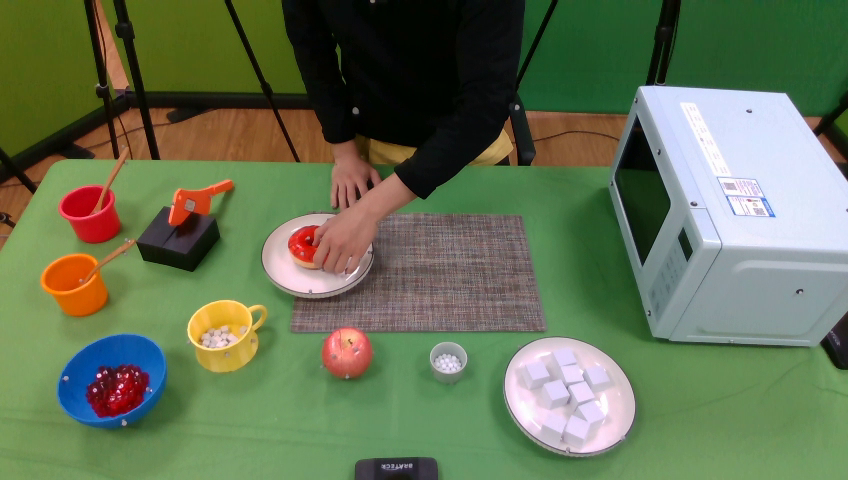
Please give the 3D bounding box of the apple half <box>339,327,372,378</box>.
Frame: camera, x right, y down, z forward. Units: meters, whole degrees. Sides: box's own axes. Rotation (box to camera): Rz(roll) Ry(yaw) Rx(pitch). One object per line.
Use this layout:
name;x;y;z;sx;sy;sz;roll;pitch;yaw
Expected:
apple half;-0.111;0.183;0.980;0.053;0.075;0.080;-2;42;-12

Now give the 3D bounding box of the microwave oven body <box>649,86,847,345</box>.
microwave oven body;0.568;-0.053;1.118;0.326;0.261;0.439;2;45;-1

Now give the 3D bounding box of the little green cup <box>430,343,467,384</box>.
little green cup;0.039;0.204;0.994;0.061;0.039;0.061;2;46;-2

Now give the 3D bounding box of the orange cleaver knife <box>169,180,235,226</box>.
orange cleaver knife;-0.435;-0.076;1.199;0.012;0.077;0.211;17;17;9

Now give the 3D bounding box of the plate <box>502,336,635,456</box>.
plate;0.225;0.248;0.963;0.208;0.039;0.206;2;46;-2

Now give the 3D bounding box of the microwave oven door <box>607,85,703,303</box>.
microwave oven door;0.423;-0.094;1.140;0.039;0.245;0.353;2;46;-1

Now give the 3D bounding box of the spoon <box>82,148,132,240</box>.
spoon;-0.602;-0.089;1.156;0.041;0.022;0.194;28;95;23

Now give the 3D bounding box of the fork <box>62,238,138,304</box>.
fork;-0.547;0.053;1.018;0.207;0.019;0.028;-36;41;23

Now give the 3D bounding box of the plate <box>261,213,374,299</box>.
plate;-0.198;0.032;1.137;0.209;0.038;0.208;2;46;-2

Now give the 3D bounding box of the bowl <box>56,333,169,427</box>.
bowl;-0.456;0.223;0.911;0.151;0.077;0.150;3;45;-2

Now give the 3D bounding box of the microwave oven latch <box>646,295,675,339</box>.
microwave oven latch;0.412;0.134;1.061;0.030;0.029;0.078;4;45;1

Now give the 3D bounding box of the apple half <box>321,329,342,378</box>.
apple half;-0.149;0.186;0.972;0.033;0.081;0.080;-2;46;-13

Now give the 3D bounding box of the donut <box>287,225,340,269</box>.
donut;-0.207;0.013;1.139;0.099;0.048;0.098;4;45;-4

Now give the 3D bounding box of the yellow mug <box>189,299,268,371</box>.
yellow mug;-0.316;0.148;1.002;0.131;0.064;0.099;-33;56;-31
